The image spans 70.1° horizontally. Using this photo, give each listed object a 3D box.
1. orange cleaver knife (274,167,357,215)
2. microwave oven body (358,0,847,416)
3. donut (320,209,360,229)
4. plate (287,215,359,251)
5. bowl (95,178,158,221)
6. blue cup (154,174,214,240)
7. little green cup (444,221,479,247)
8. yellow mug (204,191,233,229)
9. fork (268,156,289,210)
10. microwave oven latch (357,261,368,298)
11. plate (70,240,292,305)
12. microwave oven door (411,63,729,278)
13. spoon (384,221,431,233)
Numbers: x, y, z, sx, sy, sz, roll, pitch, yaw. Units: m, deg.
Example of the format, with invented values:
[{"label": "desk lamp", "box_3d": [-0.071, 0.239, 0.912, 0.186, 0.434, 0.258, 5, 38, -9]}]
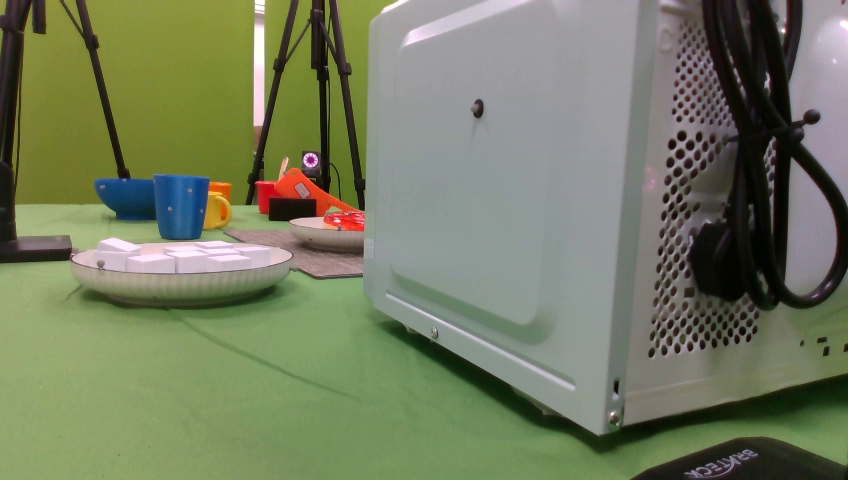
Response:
[{"label": "orange cleaver knife", "box_3d": [-0.238, -0.091, 1.381, 0.212, 0.077, 0.012, 31, 0, -19]}, {"label": "microwave oven body", "box_3d": [0.211, -0.047, 0.474, 0.444, 0.260, 0.324, -1, 7, -28]}, {"label": "donut", "box_3d": [-0.115, -0.023, 0.962, 0.099, 0.048, 0.099, 5, 9, 0]}, {"label": "plate", "box_3d": [-0.111, -0.012, 0.960, 0.209, 0.038, 0.209, 3, 8, 0]}, {"label": "bowl", "box_3d": [-0.576, -0.081, 1.217, 0.151, 0.077, 0.151, 3, 8, 0]}, {"label": "blue cup", "box_3d": [-0.391, -0.053, 0.978, 0.093, 0.100, 0.092, 3, 6, 0]}, {"label": "little green cup", "box_3d": [0.064, -0.011, 1.035, 0.061, 0.038, 0.061, 1, 9, 0]}, {"label": "yellow mug", "box_3d": [-0.415, -0.057, 1.132, 0.130, 0.064, 0.100, 6, 8, 16]}, {"label": "fork", "box_3d": [-0.360, -0.144, 1.508, 0.028, 0.018, 0.207, 1, 49, 0]}, {"label": "microwave oven latch", "box_3d": [-0.019, 0.033, 0.530, 0.079, 0.029, 0.030, 0, 7, -26]}, {"label": "plate", "box_3d": [-0.242, 0.031, 0.618, 0.208, 0.039, 0.207, 2, 8, 0]}, {"label": "microwave oven door", "box_3d": [0.165, -0.087, 0.729, 0.355, 0.243, 0.039, 3, 8, 9]}, {"label": "spoon", "box_3d": [-0.024, -0.029, 1.187, 0.041, 0.021, 0.194, -12, 0, 23]}]
